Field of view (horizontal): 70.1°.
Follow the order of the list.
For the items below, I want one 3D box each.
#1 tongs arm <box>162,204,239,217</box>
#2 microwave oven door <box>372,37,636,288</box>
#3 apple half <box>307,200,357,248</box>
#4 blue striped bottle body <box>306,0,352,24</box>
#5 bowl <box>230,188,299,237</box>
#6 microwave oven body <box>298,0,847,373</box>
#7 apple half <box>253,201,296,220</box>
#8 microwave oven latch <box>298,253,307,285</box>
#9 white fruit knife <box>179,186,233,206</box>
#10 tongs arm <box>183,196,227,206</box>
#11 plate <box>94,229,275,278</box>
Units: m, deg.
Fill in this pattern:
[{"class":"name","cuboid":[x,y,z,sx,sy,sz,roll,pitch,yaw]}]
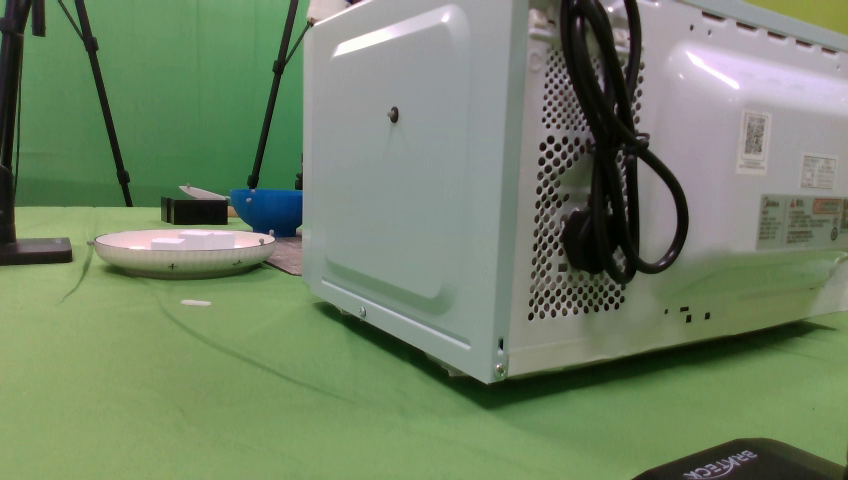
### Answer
[{"class":"tongs arm","cuboid":[-0.396,-0.066,1.399,0.389,0.028,0.028,1,5,-15]},{"class":"microwave oven door","cuboid":[0.110,-0.080,0.686,0.358,0.243,0.039,-2,9,-33]},{"class":"apple half","cuboid":[-0.135,-0.024,0.941,0.053,0.074,0.081,13,8,39]},{"class":"blue striped bottle body","cuboid":[-0.135,-0.379,0.905,0.063,0.120,0.063,14,9,-2]},{"class":"bowl","cuboid":[-0.264,-0.048,1.066,0.151,0.077,0.151,3,8,0]},{"class":"microwave oven body","cuboid":[0.151,-0.055,0.542,0.444,0.260,0.324,-2,7,-33]},{"class":"apple half","cuboid":[-0.264,-0.053,1.066,0.081,0.033,0.081,1,8,0]},{"class":"microwave oven latch","cuboid":[-0.082,0.027,0.583,0.079,0.029,0.030,-2,8,-35]},{"class":"white fruit knife","cuboid":[-0.413,-0.081,1.270,0.208,0.027,0.016,18,14,-41]},{"class":"tongs arm","cuboid":[-0.404,-0.081,1.479,0.385,0.026,0.050,3,8,-2]},{"class":"plate","cuboid":[-0.291,0.016,0.750,0.208,0.039,0.207,2,7,0]}]
